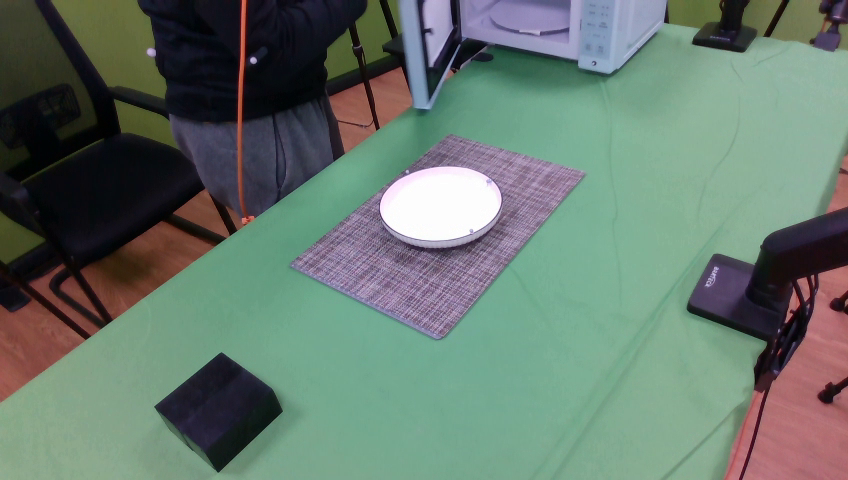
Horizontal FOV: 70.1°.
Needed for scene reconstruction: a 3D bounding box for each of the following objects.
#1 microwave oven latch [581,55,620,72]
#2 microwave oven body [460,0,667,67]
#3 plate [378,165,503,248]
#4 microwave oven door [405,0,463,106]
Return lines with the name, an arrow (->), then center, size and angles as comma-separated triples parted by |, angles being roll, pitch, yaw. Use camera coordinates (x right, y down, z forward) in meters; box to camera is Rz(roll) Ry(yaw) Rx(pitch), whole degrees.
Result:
microwave oven latch -> 0.386, -0.393, 1.330 | 0.078, 0.029, 0.030 | 24, 51, 32
microwave oven body -> 0.324, -0.608, 1.437 | 0.438, 0.261, 0.327 | 22, 50, 31
plate -> 0.028, -0.053, 1.008 | 0.209, 0.038, 0.208 | -3, 41, 3
microwave oven door -> 0.030, -0.493, 1.335 | 0.039, 0.245, 0.355 | 4, 43, 14
